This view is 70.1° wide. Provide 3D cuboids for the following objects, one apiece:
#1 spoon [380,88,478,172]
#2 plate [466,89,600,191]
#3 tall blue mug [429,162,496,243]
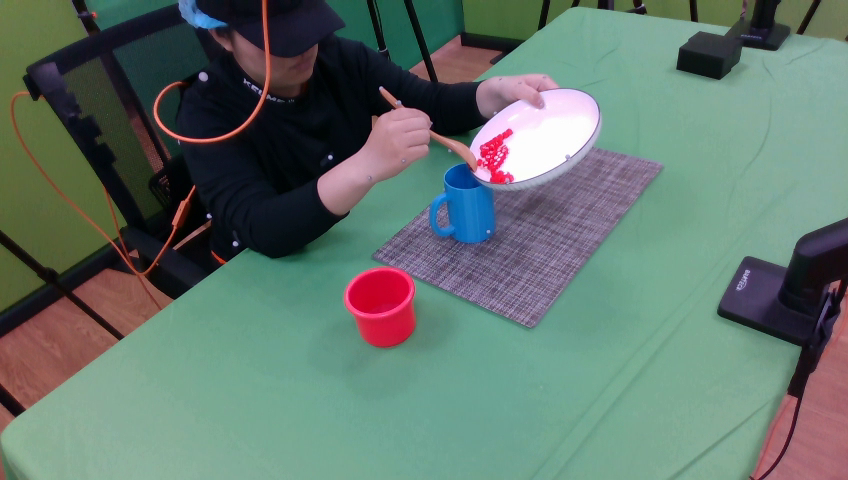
[{"bbox_3d":[0.011,-0.158,0.878,0.021,0.195,0.041,-44,31,29],"label":"spoon"},{"bbox_3d":[0.164,-0.146,0.910,0.207,0.039,0.206,-21,40,19],"label":"plate"},{"bbox_3d":[0.067,-0.051,0.960,0.077,0.108,0.107,18,47,27],"label":"tall blue mug"}]
